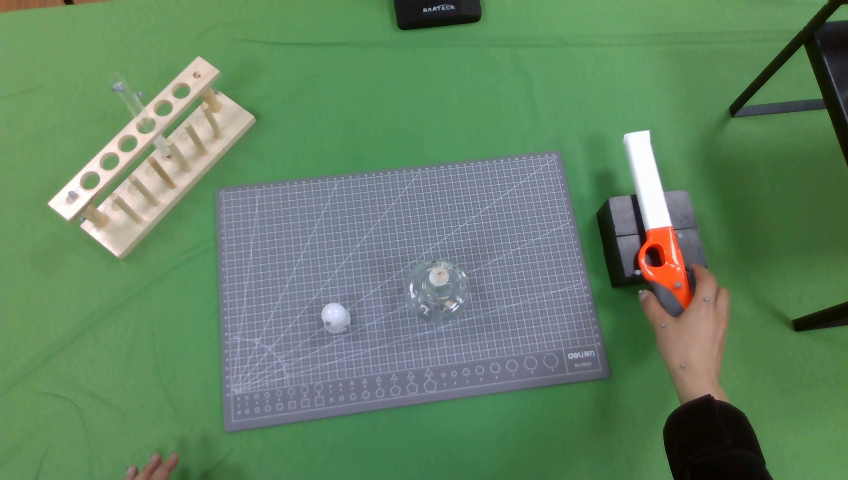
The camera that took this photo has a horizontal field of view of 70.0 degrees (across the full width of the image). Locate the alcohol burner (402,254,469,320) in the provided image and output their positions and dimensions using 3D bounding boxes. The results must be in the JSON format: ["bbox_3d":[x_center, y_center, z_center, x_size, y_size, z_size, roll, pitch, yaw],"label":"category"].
[{"bbox_3d":[0.014,0.048,0.685,0.078,0.120,0.077,1,71,-3],"label":"alcohol burner"}]

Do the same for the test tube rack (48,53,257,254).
[{"bbox_3d":[-0.319,-0.105,0.736,0.066,0.085,0.242,37,75,9],"label":"test tube rack"}]

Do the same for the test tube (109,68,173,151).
[{"bbox_3d":[-0.322,-0.145,0.697,0.017,0.151,0.017,1,67,-1],"label":"test tube"}]

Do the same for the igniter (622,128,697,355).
[{"bbox_3d":[0.275,-0.005,0.712,0.057,0.025,0.274,-7,72,5],"label":"igniter"}]

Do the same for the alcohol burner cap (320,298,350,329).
[{"bbox_3d":[-0.105,0.084,0.707,0.034,0.048,0.033,0,72,0],"label":"alcohol burner cap"}]
